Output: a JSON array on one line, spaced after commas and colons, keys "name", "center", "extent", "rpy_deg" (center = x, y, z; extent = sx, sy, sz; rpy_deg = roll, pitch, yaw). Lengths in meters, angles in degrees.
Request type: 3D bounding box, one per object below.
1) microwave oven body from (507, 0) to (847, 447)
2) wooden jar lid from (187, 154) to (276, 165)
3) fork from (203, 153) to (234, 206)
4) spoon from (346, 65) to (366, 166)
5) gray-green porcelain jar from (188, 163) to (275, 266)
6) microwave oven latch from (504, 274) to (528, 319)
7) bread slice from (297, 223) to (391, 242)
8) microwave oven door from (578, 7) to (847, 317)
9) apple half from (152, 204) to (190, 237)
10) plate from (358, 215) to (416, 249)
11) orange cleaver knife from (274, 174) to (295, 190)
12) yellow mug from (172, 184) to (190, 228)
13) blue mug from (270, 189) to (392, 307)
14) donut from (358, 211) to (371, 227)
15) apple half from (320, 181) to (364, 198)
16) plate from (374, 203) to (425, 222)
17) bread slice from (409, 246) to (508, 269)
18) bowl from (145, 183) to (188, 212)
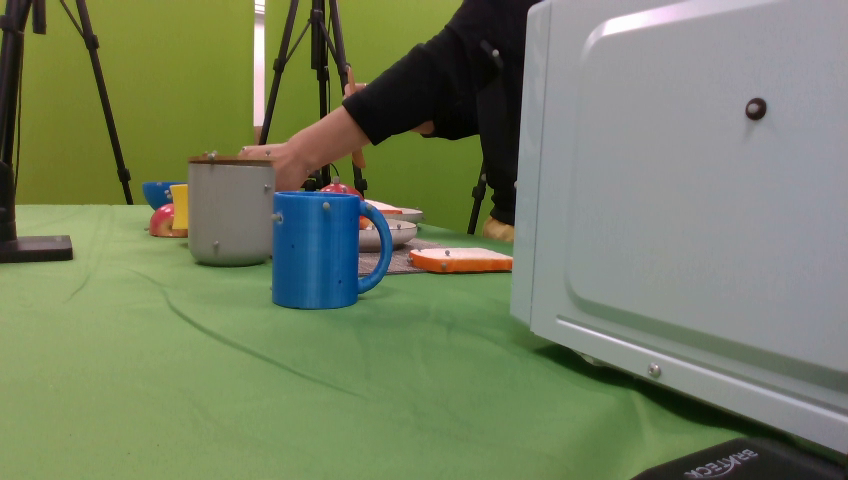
[{"name": "microwave oven body", "center": [0.331, -0.042, 0.425], "extent": [0.444, 0.260, 0.324], "rpy_deg": [-2, 8, -31]}, {"name": "wooden jar lid", "center": [-0.244, -0.097, 0.771], "extent": [0.108, 0.020, 0.108], "rpy_deg": [-1, 7, 0]}, {"name": "fork", "center": [-0.480, -0.136, 1.411], "extent": [0.028, 0.018, 0.207], "rpy_deg": [0, -34, -1]}, {"name": "spoon", "center": [-0.130, -0.235, 1.141], "extent": [0.021, 0.193, 0.042], "rpy_deg": [-4, 0, 27]}, {"name": "gray-green porcelain jar", "center": [-0.246, -0.034, 0.779], "extent": [0.106, 0.126, 0.106], "rpy_deg": [1, 7, 0]}, {"name": "microwave oven latch", "center": [0.100, 0.041, 0.471], "extent": [0.079, 0.029, 0.030], "rpy_deg": [-1, 7, -27]}, {"name": "bread slice", "center": [-0.121, -0.014, 0.970], "extent": [0.106, 0.018, 0.135], "rpy_deg": [9, 11, 41]}, {"name": "microwave oven door", "center": [0.294, -0.067, 0.571], "extent": [0.358, 0.243, 0.039], "rpy_deg": [-3, 9, -31]}, {"name": "apple half", "center": [-0.415, -0.034, 1.017], "extent": [0.081, 0.053, 0.074], "rpy_deg": [1, 10, -9]}, {"name": "plate", "center": [-0.116, -0.014, 0.967], "extent": [0.208, 0.039, 0.207], "rpy_deg": [2, 7, 0]}, {"name": "orange cleaver knife", "center": [-0.283, -0.087, 1.343], "extent": [0.212, 0.077, 0.012], "rpy_deg": [24, -16, -41]}, {"name": "yellow mug", "center": [-0.317, -0.053, 0.914], "extent": [0.130, 0.064, 0.100], "rpy_deg": [2, 7, 41]}, {"name": "blue mug", "center": [-0.089, 0.005, 0.588], "extent": [0.117, 0.106, 0.082], "rpy_deg": [0, 7, -10]}, {"name": "donut", "center": [-0.132, -0.042, 0.959], "extent": [0.099, 0.048, 0.099], "rpy_deg": [5, 8, 0]}, {"name": "apple half", "center": [-0.130, -0.077, 0.952], "extent": [0.081, 0.033, 0.081], "rpy_deg": [4, 14, -1]}, {"name": "plate", "center": [-0.102, -0.053, 1.299], "extent": [0.209, 0.038, 0.209], "rpy_deg": [2, 8, 0]}, {"name": "bread slice", "center": [0.048, 0.022, 0.816], "extent": [0.132, 0.019, 0.104], "rpy_deg": [0, 6, -24]}, {"name": "bowl", "center": [-0.459, -0.069, 1.175], "extent": [0.151, 0.077, 0.151], "rpy_deg": [3, 7, 0]}]
